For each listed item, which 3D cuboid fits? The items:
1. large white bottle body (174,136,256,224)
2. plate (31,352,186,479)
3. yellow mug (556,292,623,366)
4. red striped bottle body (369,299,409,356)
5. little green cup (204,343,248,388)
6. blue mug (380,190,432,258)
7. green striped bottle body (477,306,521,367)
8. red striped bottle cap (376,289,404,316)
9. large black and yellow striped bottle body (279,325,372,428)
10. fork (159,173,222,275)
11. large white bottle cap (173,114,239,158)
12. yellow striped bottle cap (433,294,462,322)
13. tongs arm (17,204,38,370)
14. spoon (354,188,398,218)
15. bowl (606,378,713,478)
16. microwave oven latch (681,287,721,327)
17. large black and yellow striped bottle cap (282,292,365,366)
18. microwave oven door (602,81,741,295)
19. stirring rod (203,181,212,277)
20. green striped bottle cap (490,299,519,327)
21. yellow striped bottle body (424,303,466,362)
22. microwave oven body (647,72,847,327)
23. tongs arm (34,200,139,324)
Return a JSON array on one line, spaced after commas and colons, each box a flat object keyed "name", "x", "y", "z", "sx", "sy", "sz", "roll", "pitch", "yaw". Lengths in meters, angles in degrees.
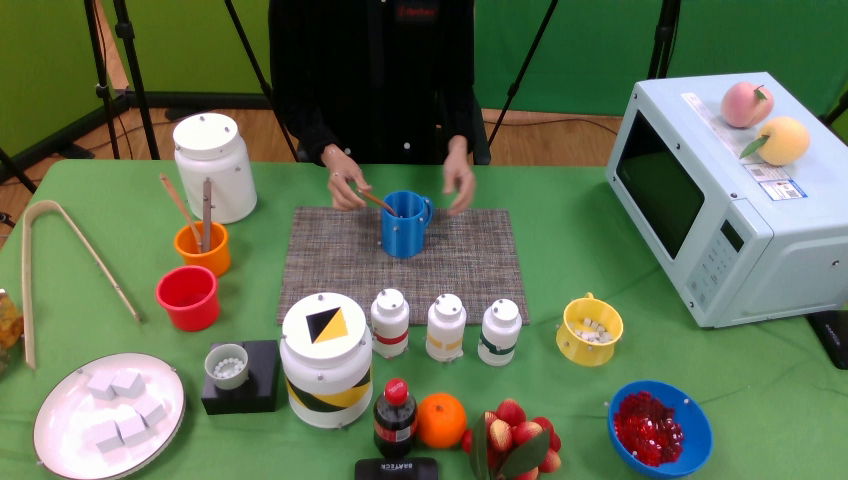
[{"name": "large white bottle body", "x": -0.408, "y": -0.137, "z": 1.183, "sx": 0.131, "sy": 0.185, "sz": 0.130, "roll": 2, "pitch": 46, "yaw": -2}, {"name": "plate", "x": -0.459, "y": 0.262, "z": 0.898, "sx": 0.209, "sy": 0.038, "sz": 0.208, "roll": 2, "pitch": 46, "yaw": -2}, {"name": "yellow mug", "x": 0.285, "y": 0.145, "z": 1.051, "sx": 0.100, "sy": 0.064, "sz": 0.130, "roll": 7, "pitch": 45, "yaw": 3}, {"name": "red striped bottle body", "x": -0.058, "y": 0.134, "z": 0.997, "sx": 0.063, "sy": 0.120, "sz": 0.062, "roll": 4, "pitch": 47, "yaw": -4}, {"name": "little green cup", "x": -0.294, "y": 0.190, "z": 0.909, "sx": 0.061, "sy": 0.039, "sz": 0.061, "roll": 1, "pitch": 48, "yaw": -1}, {"name": "blue mug", "x": -0.030, "y": -0.037, "z": 1.169, "sx": 0.116, "sy": 0.106, "sz": 0.082, "roll": -28, "pitch": 55, "yaw": -28}, {"name": "green striped bottle body", "x": 0.124, "y": 0.151, "z": 0.995, "sx": 0.063, "sy": 0.120, "sz": 0.063, "roll": 2, "pitch": 46, "yaw": -1}, {"name": "red striped bottle cap", "x": -0.055, "y": 0.098, "z": 0.958, "sx": 0.044, "sy": 0.018, "sz": 0.044, "roll": 0, "pitch": 47, "yaw": 0}, {"name": "large black and yellow striped bottle body", "x": -0.143, "y": 0.181, "z": 0.900, "sx": 0.131, "sy": 0.185, "sz": 0.130, "roll": 2, "pitch": 46, "yaw": -2}, {"name": "fork", "x": -0.427, "y": -0.029, "z": 1.103, "sx": 0.028, "sy": 0.018, "sz": 0.207, "roll": -31, "pitch": 99, "yaw": -31}, {"name": "large white bottle cap", "x": -0.403, "y": -0.195, "z": 1.122, "sx": 0.115, "sy": 0.018, "sz": 0.114, "roll": 2, "pitch": 47, "yaw": -2}, {"name": "yellow striped bottle cap", "x": 0.037, "y": 0.107, "z": 0.958, "sx": 0.044, "sy": 0.019, "sz": 0.044, "roll": 2, "pitch": 45, "yaw": -2}, {"name": "tongs arm", "x": -0.698, "y": 0.069, "z": 1.068, "sx": 0.028, "sy": 0.028, "sz": 0.385, "roll": -20, "pitch": 50, "yaw": -13}, {"name": "spoon", "x": -0.068, "y": -0.055, "z": 1.122, "sx": 0.021, "sy": 0.195, "sz": 0.041, "roll": -44, "pitch": 50, "yaw": 6}, {"name": "bowl", "x": 0.340, "y": 0.292, "z": 0.906, "sx": 0.151, "sy": 0.077, "sz": 0.150, "roll": 2, "pitch": 46, "yaw": -2}, {"name": "microwave oven latch", "x": 0.494, "y": 0.119, "z": 1.087, "sx": 0.030, "sy": 0.029, "sz": 0.078, "roll": -6, "pitch": 46, "yaw": -9}, {"name": "large black and yellow striped bottle cap", "x": -0.139, "y": 0.121, "z": 0.841, "sx": 0.115, "sy": 0.019, "sz": 0.114, "roll": 3, "pitch": 47, "yaw": -3}, {"name": "microwave oven door", "x": 0.456, "y": -0.107, "z": 1.162, "sx": 0.039, "sy": 0.245, "sz": 0.353, "roll": -6, "pitch": 47, "yaw": -11}, {"name": "stirring rod", "x": -0.396, "y": -0.021, "z": 1.108, "sx": 0.014, "sy": 0.006, "sz": 0.176, "roll": -1, "pitch": 89, "yaw": -1}, {"name": "green striped bottle cap", "x": 0.127, "y": 0.115, "z": 0.958, "sx": 0.044, "sy": 0.020, "sz": 0.044, "roll": 2, "pitch": 47, "yaw": -2}, {"name": "yellow striped bottle body", "x": 0.035, "y": 0.143, "z": 0.995, "sx": 0.063, "sy": 0.121, "sz": 0.062, "roll": 3, "pitch": 46, "yaw": -3}, {"name": "microwave oven body", "x": 0.607, "y": -0.089, "z": 1.164, "sx": 0.326, "sy": 0.261, "sz": 0.438, "roll": -7, "pitch": 46, "yaw": -10}, {"name": "tongs arm", "x": -0.622, "y": 0.034, "z": 1.105, "sx": 0.051, "sy": 0.026, "sz": 0.382, "roll": -32, "pitch": 55, "yaw": -26}]
